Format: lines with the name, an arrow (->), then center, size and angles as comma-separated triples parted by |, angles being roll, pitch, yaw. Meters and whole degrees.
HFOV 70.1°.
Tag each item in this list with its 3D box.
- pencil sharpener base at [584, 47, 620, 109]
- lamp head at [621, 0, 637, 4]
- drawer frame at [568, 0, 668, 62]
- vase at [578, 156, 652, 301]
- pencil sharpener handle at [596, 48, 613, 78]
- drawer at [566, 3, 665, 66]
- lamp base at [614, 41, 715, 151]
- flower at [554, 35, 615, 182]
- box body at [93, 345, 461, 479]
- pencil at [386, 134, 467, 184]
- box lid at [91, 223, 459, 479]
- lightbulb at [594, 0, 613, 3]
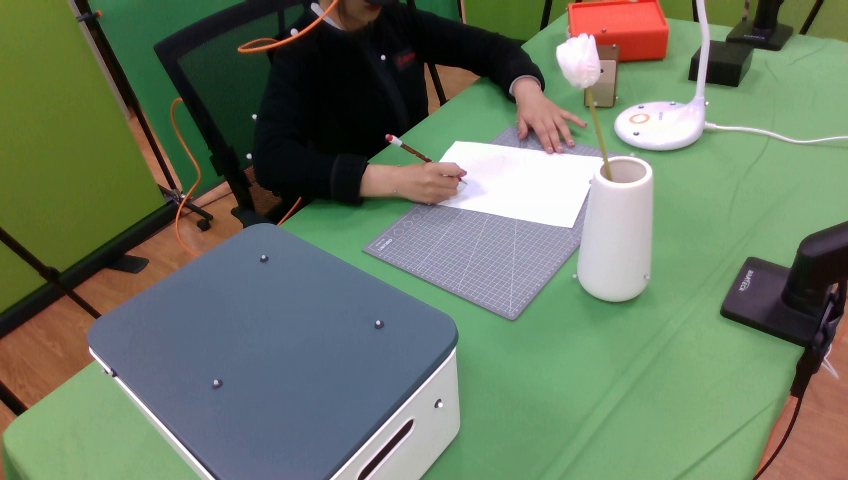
pencil sharpener base -> 0.367, -0.336, 1.249 | 0.061, 0.107, 0.076 | 6, 42, 19
lamp head -> 0.319, -0.453, 0.962 | 0.113, 0.123, 0.112 | 20, 33, -13
drawer frame -> 0.450, -0.495, 1.441 | 0.213, 0.083, 0.201 | -1, 40, 9
vase -> 0.261, -0.011, 0.812 | 0.098, 0.201, 0.097 | -4, 40, 4
pencil sharpener handle -> 0.382, -0.378, 1.276 | 0.036, 0.068, 0.030 | 4, 41, 21
drawer -> 0.447, -0.493, 1.440 | 0.211, 0.073, 0.194 | 0, 40, 10
lamp base -> 0.449, -0.277, 1.106 | 0.179, 0.181, 0.160 | 1, 41, 9
flower -> 0.237, -0.083, 0.774 | 0.044, 0.363, 0.038 | -22, 26, 7
box body -> -0.162, 0.170, 0.708 | 0.361, 0.161, 0.255 | 25, 50, 34
pencil -> 0.009, -0.136, 1.045 | 0.012, 0.196, 0.012 | -27, 51, 39
box lid -> -0.174, 0.103, 0.667 | 0.368, 0.015, 0.264 | 24, 48, 35
lightbulb -> 0.305, -0.438, 0.978 | 0.060, 0.107, 0.059 | 13, 43, -11
